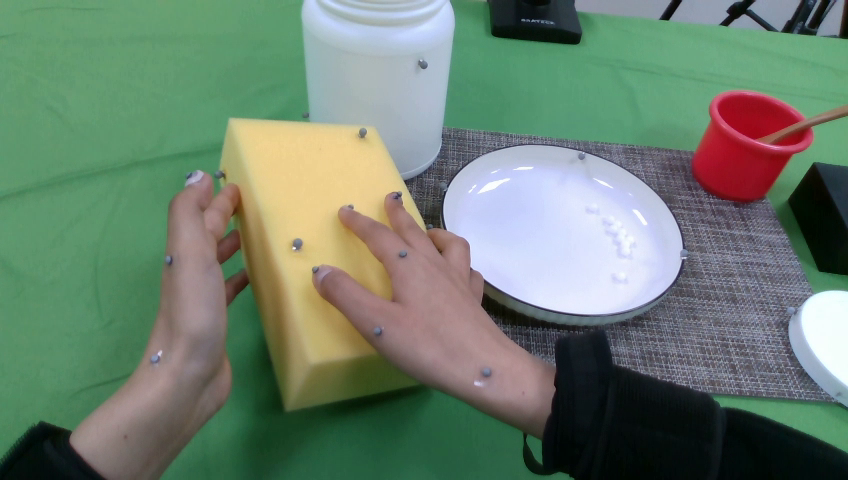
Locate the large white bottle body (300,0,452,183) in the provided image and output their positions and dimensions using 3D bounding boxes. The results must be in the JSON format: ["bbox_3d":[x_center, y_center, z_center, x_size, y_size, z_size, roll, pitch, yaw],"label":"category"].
[{"bbox_3d":[-0.043,-0.156,0.551,0.131,0.186,0.129,3,47,-3],"label":"large white bottle body"}]

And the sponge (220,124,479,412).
[{"bbox_3d":[-0.062,0.008,0.435,0.119,0.061,0.204,-5,52,-32],"label":"sponge"}]

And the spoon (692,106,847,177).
[{"bbox_3d":[0.358,-0.103,0.580,0.193,0.022,0.041,-23,34,34],"label":"spoon"}]

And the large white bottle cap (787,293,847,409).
[{"bbox_3d":[0.352,0.092,0.484,0.115,0.018,0.113,5,47,-5],"label":"large white bottle cap"}]

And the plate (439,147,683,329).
[{"bbox_3d":[0.115,-0.003,0.529,0.209,0.038,0.207,4,46,-4],"label":"plate"}]
